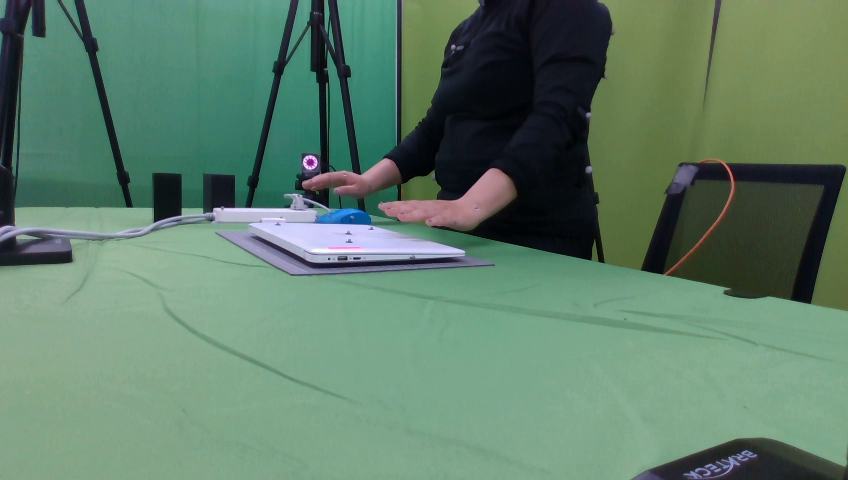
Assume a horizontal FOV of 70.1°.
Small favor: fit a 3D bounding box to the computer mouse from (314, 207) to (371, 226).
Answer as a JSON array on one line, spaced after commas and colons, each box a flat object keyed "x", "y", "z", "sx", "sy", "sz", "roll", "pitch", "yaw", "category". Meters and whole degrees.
[{"x": -0.174, "y": -0.047, "z": 1.292, "sx": 0.118, "sy": 0.041, "sz": 0.062, "roll": -8, "pitch": 14, "yaw": -33, "category": "computer mouse"}]

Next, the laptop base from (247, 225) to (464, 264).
[{"x": -0.124, "y": 0.006, "z": 0.955, "sx": 0.237, "sy": 0.023, "sz": 0.352, "roll": 2, "pitch": 6, "yaw": -30, "category": "laptop base"}]

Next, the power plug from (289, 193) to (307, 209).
[{"x": -0.281, "y": -0.076, "z": 1.340, "sx": 0.035, "sy": 0.052, "sz": 0.072, "roll": 3, "pitch": 5, "yaw": -18, "category": "power plug"}]

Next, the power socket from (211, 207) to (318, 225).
[{"x": -0.333, "y": -0.051, "z": 1.281, "sx": 0.228, "sy": 0.032, "sz": 0.072, "roll": -1, "pitch": 9, "yaw": -27, "category": "power socket"}]

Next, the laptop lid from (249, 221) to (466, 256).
[{"x": -0.121, "y": -0.005, "z": 0.955, "sx": 0.243, "sy": 0.013, "sz": 0.355, "roll": 1, "pitch": 7, "yaw": -28, "category": "laptop lid"}]

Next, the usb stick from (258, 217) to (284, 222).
[{"x": -0.291, "y": -0.028, "z": 1.118, "sx": 0.059, "sy": 0.027, "sz": 0.021, "roll": -4, "pitch": 13, "yaw": -29, "category": "usb stick"}]
